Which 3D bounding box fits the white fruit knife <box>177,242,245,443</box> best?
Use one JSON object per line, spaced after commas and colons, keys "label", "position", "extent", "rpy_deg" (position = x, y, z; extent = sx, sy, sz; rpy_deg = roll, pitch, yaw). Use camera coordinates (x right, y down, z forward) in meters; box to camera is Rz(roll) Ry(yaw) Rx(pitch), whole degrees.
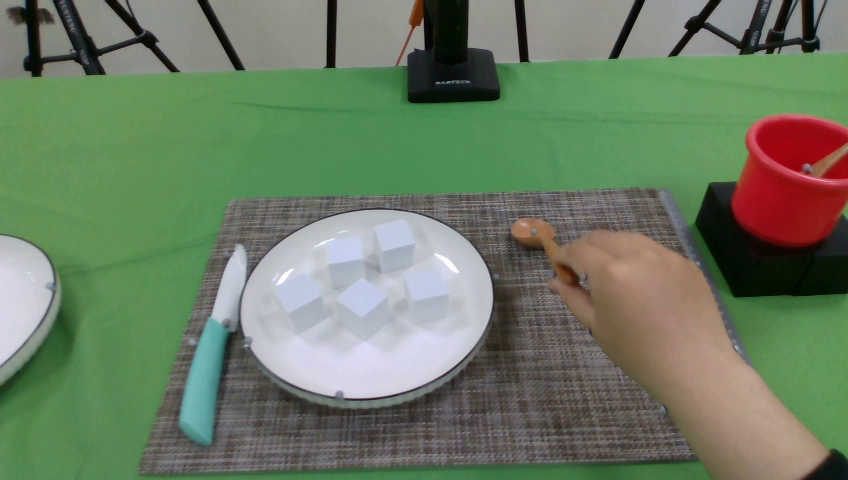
{"label": "white fruit knife", "position": [-0.173, 0.072, 0.506], "extent": [0.027, 0.016, 0.205], "rpy_deg": [19, 38, -20]}

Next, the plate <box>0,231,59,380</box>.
{"label": "plate", "position": [-0.409, 0.074, 0.497], "extent": [0.209, 0.038, 0.207], "rpy_deg": [0, 43, 1]}

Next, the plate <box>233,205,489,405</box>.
{"label": "plate", "position": [-0.050, 0.051, 0.508], "extent": [0.208, 0.039, 0.205], "rpy_deg": [0, 44, 1]}

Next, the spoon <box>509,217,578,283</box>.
{"label": "spoon", "position": [0.100, 0.004, 0.505], "extent": [0.041, 0.022, 0.193], "rpy_deg": [-1, 10, 2]}

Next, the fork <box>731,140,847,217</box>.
{"label": "fork", "position": [0.349, -0.077, 0.485], "extent": [0.207, 0.019, 0.028], "rpy_deg": [-37, 30, 24]}
